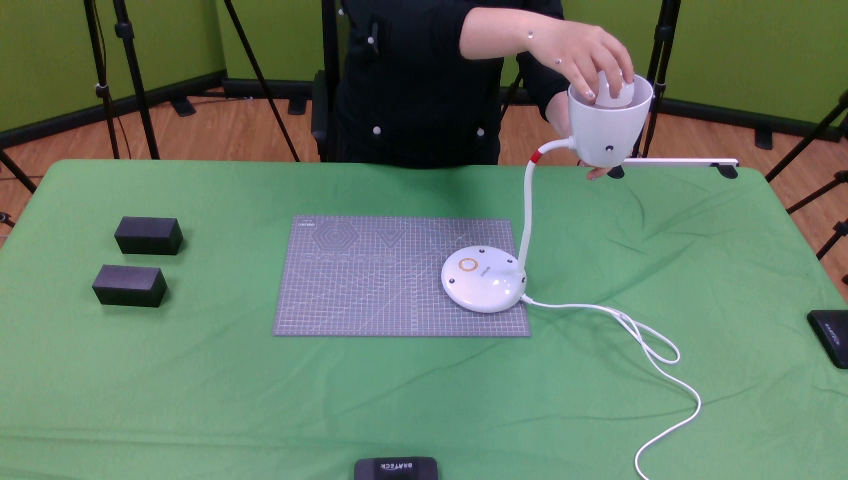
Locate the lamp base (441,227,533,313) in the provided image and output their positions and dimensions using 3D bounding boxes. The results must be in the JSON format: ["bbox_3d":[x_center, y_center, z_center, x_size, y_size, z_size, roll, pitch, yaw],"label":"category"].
[{"bbox_3d":[0.126,0.022,1.071,0.179,0.181,0.160,23,49,14],"label":"lamp base"}]

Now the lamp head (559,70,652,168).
[{"bbox_3d":[0.252,-0.164,0.860,0.112,0.123,0.111,0,42,0],"label":"lamp head"}]

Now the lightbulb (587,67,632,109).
[{"bbox_3d":[0.252,-0.184,0.839,0.059,0.108,0.059,3,25,-1],"label":"lightbulb"}]
